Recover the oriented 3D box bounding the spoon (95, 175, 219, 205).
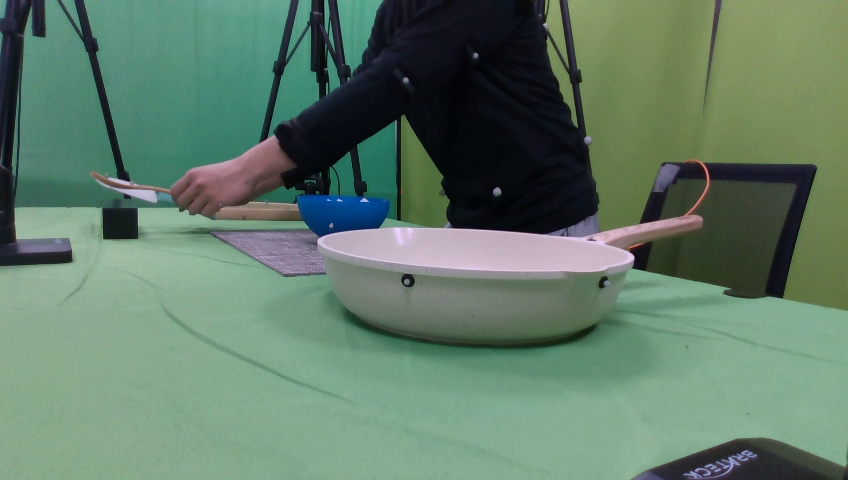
[{"bbox_3d":[-0.442,-0.082,1.013,0.195,0.021,0.041,7,-19,-30],"label":"spoon"}]

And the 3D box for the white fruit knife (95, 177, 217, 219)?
[{"bbox_3d":[-0.471,-0.079,1.075,0.208,0.027,0.016,17,-9,-30],"label":"white fruit knife"}]

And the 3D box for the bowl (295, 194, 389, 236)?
[{"bbox_3d":[-0.132,-0.032,0.980,0.151,0.077,0.151,2,7,0],"label":"bowl"}]

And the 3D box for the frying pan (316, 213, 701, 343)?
[{"bbox_3d":[0.133,0.013,0.629,0.490,0.102,0.305,-12,14,-30],"label":"frying pan"}]

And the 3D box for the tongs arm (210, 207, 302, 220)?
[{"bbox_3d":[-0.287,-0.061,1.392,0.389,0.028,0.028,0,6,-23],"label":"tongs arm"}]

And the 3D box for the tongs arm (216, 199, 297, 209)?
[{"bbox_3d":[-0.307,-0.075,1.469,0.386,0.026,0.050,2,8,-10],"label":"tongs arm"}]
